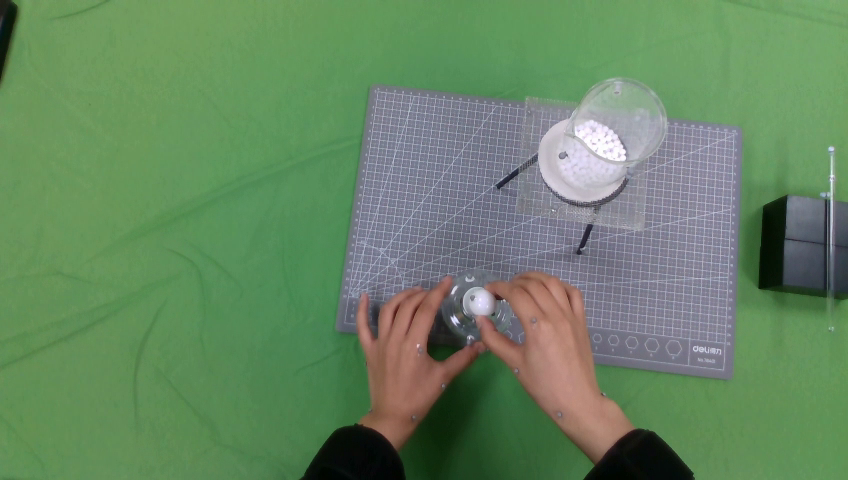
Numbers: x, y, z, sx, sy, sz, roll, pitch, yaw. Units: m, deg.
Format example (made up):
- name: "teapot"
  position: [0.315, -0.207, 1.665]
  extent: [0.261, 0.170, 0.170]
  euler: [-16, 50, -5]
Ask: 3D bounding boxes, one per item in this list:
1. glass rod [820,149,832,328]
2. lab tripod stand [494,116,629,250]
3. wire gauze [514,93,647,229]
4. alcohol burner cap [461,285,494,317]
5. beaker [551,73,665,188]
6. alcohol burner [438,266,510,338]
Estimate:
- name: "glass rod"
  position: [0.437, -0.004, 0.659]
  extent: [0.008, 0.008, 0.199]
  euler: [7, 81, 1]
- name: "lab tripod stand"
  position: [0.155, -0.071, 0.648]
  extent: [0.148, 0.132, 0.147]
  euler: [0, 79, 0]
- name: "wire gauze"
  position: [0.151, -0.078, 0.582]
  extent: [0.125, 0.011, 0.121]
  euler: [8, 81, -2]
- name: "alcohol burner cap"
  position: [0.054, 0.061, 0.599]
  extent: [0.034, 0.048, 0.034]
  euler: [0, 85, 1]
- name: "beaker"
  position: [0.154, -0.090, 0.536]
  extent: [0.084, 0.100, 0.073]
  euler: [-9, 80, -2]
- name: "alcohol burner"
  position: [0.054, 0.064, 0.635]
  extent: [0.078, 0.119, 0.077]
  euler: [0, 83, -1]
